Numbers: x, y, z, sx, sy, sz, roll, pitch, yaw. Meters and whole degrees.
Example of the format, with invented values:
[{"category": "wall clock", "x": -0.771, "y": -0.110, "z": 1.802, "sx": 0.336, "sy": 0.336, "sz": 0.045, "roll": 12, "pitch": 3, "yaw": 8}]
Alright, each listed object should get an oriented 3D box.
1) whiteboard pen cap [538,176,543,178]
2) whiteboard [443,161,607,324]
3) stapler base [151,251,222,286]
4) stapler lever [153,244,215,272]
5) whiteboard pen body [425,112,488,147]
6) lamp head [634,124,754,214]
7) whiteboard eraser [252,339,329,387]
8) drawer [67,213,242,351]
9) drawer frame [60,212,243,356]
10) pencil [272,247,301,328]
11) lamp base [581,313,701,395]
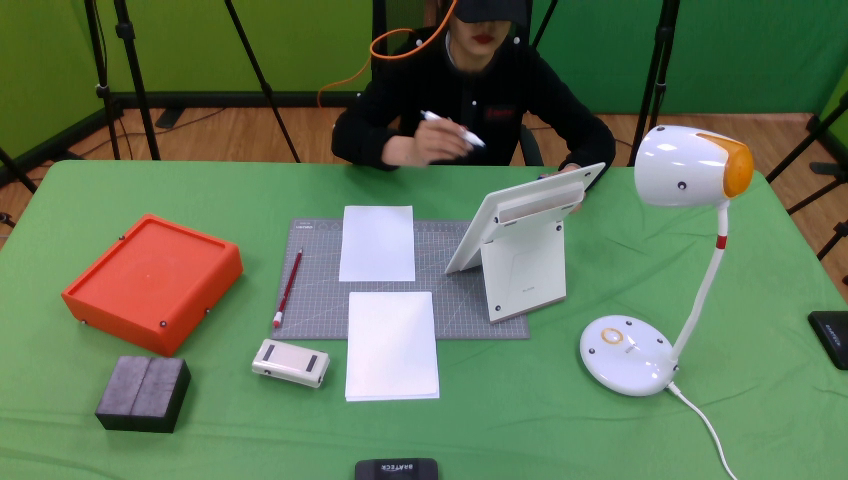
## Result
[{"category": "whiteboard pen cap", "x": 0.230, "y": -0.108, "z": 1.145, "sx": 0.033, "sy": 0.018, "sz": 0.018, "roll": 21, "pitch": 42, "yaw": -21}, {"category": "whiteboard", "x": 0.185, "y": 0.026, "z": 1.028, "sx": 0.217, "sy": 0.306, "sz": 0.143, "roll": -15, "pitch": 68, "yaw": -18}, {"category": "stapler base", "x": -0.431, "y": 0.047, "z": 1.102, "sx": 0.130, "sy": 0.024, "sz": 0.041, "roll": 17, "pitch": 34, "yaw": 12}, {"category": "stapler lever", "x": -0.430, "y": 0.025, "z": 1.088, "sx": 0.118, "sy": 0.040, "sz": 0.027, "roll": 16, "pitch": 34, "yaw": 13}, {"category": "whiteboard pen body", "x": 0.057, "y": -0.195, "z": 1.072, "sx": 0.140, "sy": 0.017, "sz": 0.017, "roll": 33, "pitch": 52, "yaw": 27}, {"category": "lamp head", "x": 0.351, "y": -0.089, "z": 0.775, "sx": 0.112, "sy": 0.113, "sz": 0.122, "roll": -30, "pitch": 30, "yaw": -28}, {"category": "whiteboard eraser", "x": -0.215, "y": 0.199, "z": 0.976, "sx": 0.112, "sy": 0.042, "sz": 0.055, "roll": 12, "pitch": 45, "yaw": 7}, {"category": "drawer", "x": -0.461, "y": 0.068, "z": 1.056, "sx": 0.194, "sy": 0.073, "sz": 0.211, "roll": 19, "pitch": 48, "yaw": 13}, {"category": "drawer frame", "x": -0.462, "y": 0.070, "z": 1.053, "sx": 0.201, "sy": 0.083, "sz": 0.213, "roll": 18, "pitch": 48, "yaw": 12}, {"category": "pencil", "x": -0.248, "y": 0.081, "z": 1.104, "sx": 0.012, "sy": 0.012, "sz": 0.193, "roll": 6, "pitch": 44, "yaw": 1}, {"category": "lamp base", "x": 0.361, "y": 0.144, "z": 0.973, "sx": 0.178, "sy": 0.181, "sz": 0.160, "roll": 34, "pitch": 53, "yaw": 23}]
